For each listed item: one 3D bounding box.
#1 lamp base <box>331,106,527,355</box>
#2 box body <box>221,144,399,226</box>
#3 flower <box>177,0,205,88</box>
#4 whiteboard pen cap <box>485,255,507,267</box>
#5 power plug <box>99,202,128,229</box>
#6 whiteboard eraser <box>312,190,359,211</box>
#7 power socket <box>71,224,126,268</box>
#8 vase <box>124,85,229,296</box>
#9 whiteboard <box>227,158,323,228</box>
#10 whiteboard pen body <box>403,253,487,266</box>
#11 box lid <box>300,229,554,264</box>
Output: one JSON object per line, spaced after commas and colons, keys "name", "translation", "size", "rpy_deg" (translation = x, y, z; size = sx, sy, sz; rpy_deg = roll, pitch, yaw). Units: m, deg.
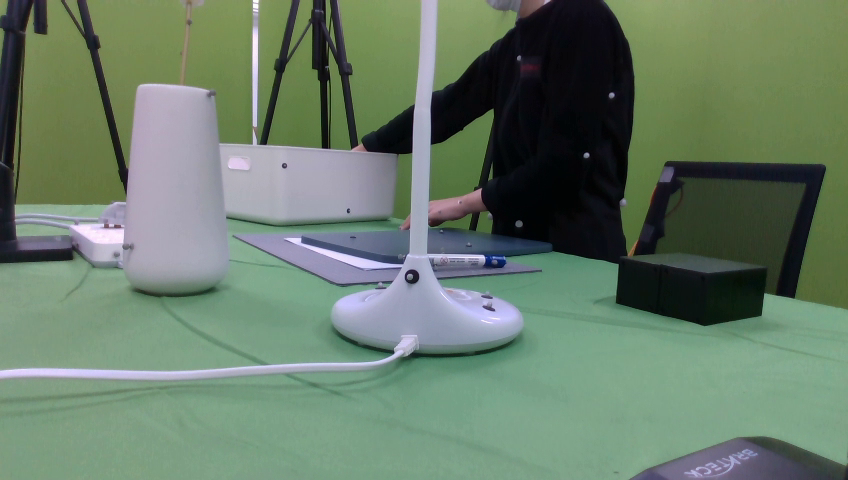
{"name": "lamp base", "translation": [0.006, -0.012, 0.478], "size": [0.161, 0.180, 0.179], "rpy_deg": [2, 10, 2]}
{"name": "box body", "translation": [-0.264, -0.129, 1.380], "size": [0.253, 0.160, 0.366], "rpy_deg": [8, 9, 39]}
{"name": "flower", "translation": [-0.243, -0.131, 0.609], "size": [0.044, 0.361, 0.038], "rpy_deg": [-5, -12, 12]}
{"name": "whiteboard pen cap", "translation": [0.093, 0.028, 0.809], "size": [0.033, 0.018, 0.018], "rpy_deg": [2, 7, -24]}
{"name": "power plug", "translation": [-0.415, -0.026, 0.848], "size": [0.073, 0.052, 0.035], "rpy_deg": [6, 5, -28]}
{"name": "whiteboard eraser", "translation": [-0.223, -0.098, 1.517], "size": [0.112, 0.042, 0.056], "rpy_deg": [10, 21, 31]}
{"name": "power socket", "translation": [-0.409, 0.004, 0.793], "size": [0.072, 0.032, 0.225], "rpy_deg": [-2, 8, -37]}
{"name": "vase", "translation": [-0.244, -0.047, 0.598], "size": [0.098, 0.200, 0.098], "rpy_deg": [3, 9, 0]}
{"name": "whiteboard", "translation": [-0.276, -0.119, 1.376], "size": [0.216, 0.143, 0.307], "rpy_deg": [7, 10, 39]}
{"name": "whiteboard pen body", "translation": [0.040, 0.026, 0.785], "size": [0.141, 0.017, 0.017], "rpy_deg": [2, 7, -24]}
{"name": "box lid", "translation": [0.011, 0.006, 0.999], "size": [0.374, 0.015, 0.262], "rpy_deg": [-3, 9, -43]}
